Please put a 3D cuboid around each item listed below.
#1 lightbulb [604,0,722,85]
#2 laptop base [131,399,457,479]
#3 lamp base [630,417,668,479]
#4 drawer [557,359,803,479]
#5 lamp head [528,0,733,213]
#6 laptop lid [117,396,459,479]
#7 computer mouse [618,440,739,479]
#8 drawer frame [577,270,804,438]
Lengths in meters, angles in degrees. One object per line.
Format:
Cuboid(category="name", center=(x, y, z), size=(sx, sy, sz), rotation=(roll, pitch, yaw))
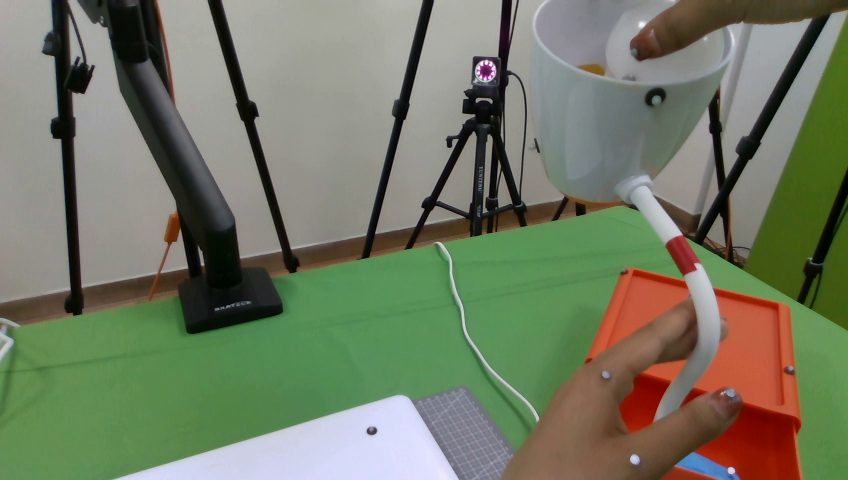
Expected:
Cuboid(category="lightbulb", center=(0.125, -0.092, 0.353), size=(0.060, 0.108, 0.059), rotation=(5, 64, -11))
Cuboid(category="laptop base", center=(-0.129, 0.256, 0.487), size=(0.355, 0.023, 0.233), rotation=(-11, 34, -23))
Cuboid(category="lamp base", center=(0.149, 0.221, 0.394), size=(0.161, 0.181, 0.177), rotation=(-1, 25, -9))
Cuboid(category="drawer", center=(0.251, 0.181, 0.593), size=(0.193, 0.074, 0.211), rotation=(12, 29, 21))
Cuboid(category="lamp head", center=(0.118, -0.077, 0.379), size=(0.112, 0.124, 0.111), rotation=(-2, 43, 2))
Cuboid(category="laptop lid", center=(-0.128, 0.247, 0.479), size=(0.358, 0.013, 0.239), rotation=(-10, 32, -22))
Cuboid(category="computer mouse", center=(0.232, 0.220, 0.547), size=(0.117, 0.041, 0.062), rotation=(13, 29, 13))
Cuboid(category="drawer frame", center=(0.298, 0.132, 0.682), size=(0.200, 0.083, 0.213), rotation=(13, 29, 21))
